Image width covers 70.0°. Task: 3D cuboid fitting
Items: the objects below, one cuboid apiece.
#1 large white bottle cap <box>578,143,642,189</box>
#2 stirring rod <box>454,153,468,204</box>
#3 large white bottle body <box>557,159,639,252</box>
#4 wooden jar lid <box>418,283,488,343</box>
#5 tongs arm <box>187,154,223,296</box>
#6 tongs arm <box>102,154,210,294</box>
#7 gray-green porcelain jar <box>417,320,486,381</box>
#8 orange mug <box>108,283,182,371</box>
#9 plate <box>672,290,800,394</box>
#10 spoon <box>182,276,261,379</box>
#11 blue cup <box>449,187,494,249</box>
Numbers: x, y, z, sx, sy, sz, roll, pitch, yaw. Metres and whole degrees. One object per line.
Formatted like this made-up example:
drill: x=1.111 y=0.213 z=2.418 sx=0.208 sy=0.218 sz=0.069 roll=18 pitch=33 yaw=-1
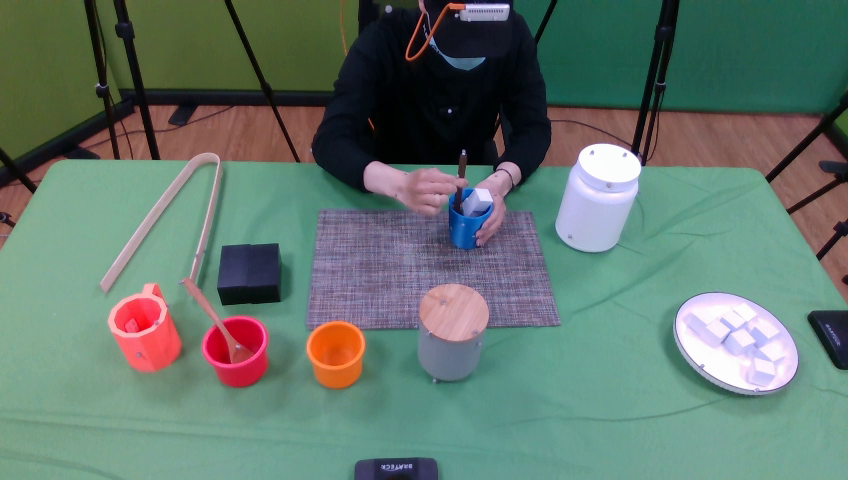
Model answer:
large white bottle cap: x=0.344 y=-0.139 z=1.123 sx=0.115 sy=0.018 sz=0.114 roll=2 pitch=46 yaw=-2
stirring rod: x=0.065 y=-0.089 z=1.119 sx=0.014 sy=0.177 sz=0.006 roll=-18 pitch=50 yaw=-21
large white bottle body: x=0.341 y=-0.081 z=1.185 sx=0.131 sy=0.185 sz=0.130 roll=2 pitch=46 yaw=-2
wooden jar lid: x=0.045 y=0.114 z=0.931 sx=0.108 sy=0.021 sz=0.107 roll=2 pitch=49 yaw=-2
tongs arm: x=-0.442 y=-0.045 z=1.199 sx=0.051 sy=0.027 sz=0.382 roll=-4 pitch=46 yaw=1
tongs arm: x=-0.524 y=-0.046 z=1.203 sx=0.028 sy=0.028 sz=0.385 roll=4 pitch=45 yaw=13
gray-green porcelain jar: x=0.042 y=0.158 z=0.975 sx=0.106 sy=0.127 sz=0.105 roll=2 pitch=46 yaw=-2
orange mug: x=-0.445 y=0.134 z=0.982 sx=0.083 sy=0.101 sz=0.125 roll=-1 pitch=50 yaw=-5
plate: x=0.533 y=0.179 z=1.050 sx=0.208 sy=0.039 sz=0.206 roll=2 pitch=46 yaw=-2
spoon: x=-0.321 y=0.137 z=0.957 sx=0.041 sy=0.021 sz=0.194 roll=-36 pitch=102 yaw=-33
blue cup: x=0.087 y=-0.037 z=1.179 sx=0.093 sy=0.101 sz=0.092 roll=3 pitch=45 yaw=-3
